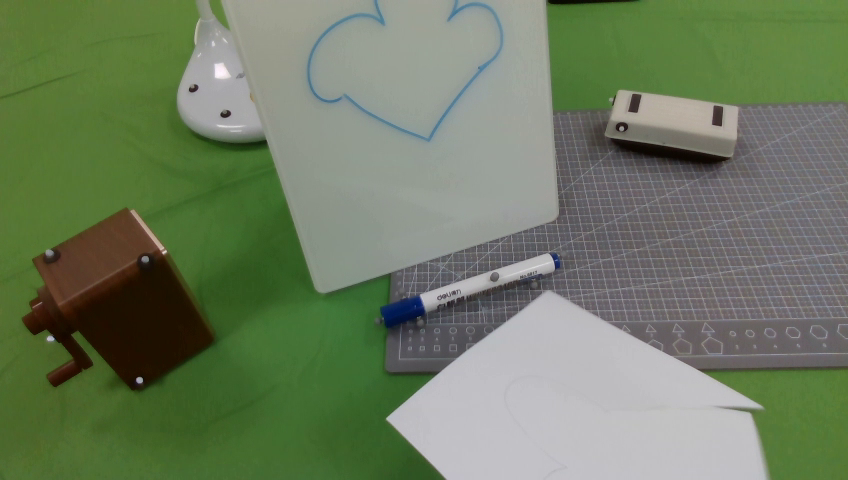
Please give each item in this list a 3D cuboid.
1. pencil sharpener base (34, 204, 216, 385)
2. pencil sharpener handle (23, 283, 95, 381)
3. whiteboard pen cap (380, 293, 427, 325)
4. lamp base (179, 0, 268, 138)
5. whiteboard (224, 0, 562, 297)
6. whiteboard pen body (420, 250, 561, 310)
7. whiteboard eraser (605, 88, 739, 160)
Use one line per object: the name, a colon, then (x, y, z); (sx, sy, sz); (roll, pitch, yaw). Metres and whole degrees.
pencil sharpener base: (-0.206, 0.042, 0.424); (0.076, 0.108, 0.061); (-35, 56, -23)
pencil sharpener handle: (-0.243, 0.062, 0.392); (0.030, 0.068, 0.035); (-35, 43, -23)
whiteboard pen cap: (-0.015, 0.052, 0.456); (0.033, 0.018, 0.018); (-18, 50, -10)
lamp base: (-0.195, -0.220, 0.600); (0.177, 0.182, 0.160); (32, 58, 30)
whiteboard: (-0.027, -0.145, 0.482); (0.217, 0.308, 0.142); (-17, 31, -10)
whiteboard pen body: (0.040, 0.034, 0.467); (0.141, 0.017, 0.017); (-17, 50, -10)
whiteboard eraser: (0.230, -0.107, 0.565); (0.112, 0.042, 0.055); (13, 52, 15)
